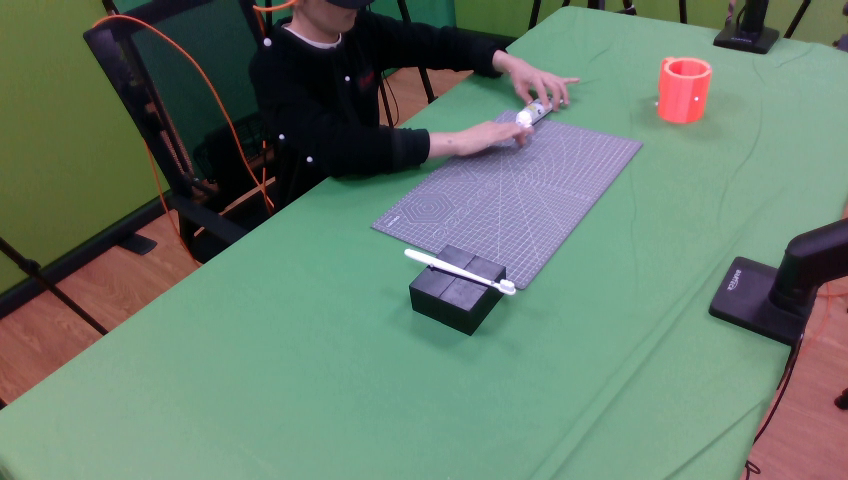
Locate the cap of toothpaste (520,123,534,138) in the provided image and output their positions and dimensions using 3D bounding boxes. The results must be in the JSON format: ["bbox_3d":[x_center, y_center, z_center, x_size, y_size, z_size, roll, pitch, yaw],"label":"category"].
[{"bbox_3d":[0.199,-0.215,1.181,0.011,0.037,0.037,43,57,12],"label":"cap of toothpaste"}]

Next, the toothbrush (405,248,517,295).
[{"bbox_3d":[0.048,0.041,0.850,0.180,0.017,0.014,19,52,28],"label":"toothbrush"}]

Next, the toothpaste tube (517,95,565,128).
[{"bbox_3d":[0.236,-0.268,1.246,0.055,0.034,0.165,22,40,23],"label":"toothpaste tube"}]

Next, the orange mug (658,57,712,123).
[{"bbox_3d":[0.504,-0.304,1.193,0.083,0.101,0.125,-13,45,-5],"label":"orange mug"}]
